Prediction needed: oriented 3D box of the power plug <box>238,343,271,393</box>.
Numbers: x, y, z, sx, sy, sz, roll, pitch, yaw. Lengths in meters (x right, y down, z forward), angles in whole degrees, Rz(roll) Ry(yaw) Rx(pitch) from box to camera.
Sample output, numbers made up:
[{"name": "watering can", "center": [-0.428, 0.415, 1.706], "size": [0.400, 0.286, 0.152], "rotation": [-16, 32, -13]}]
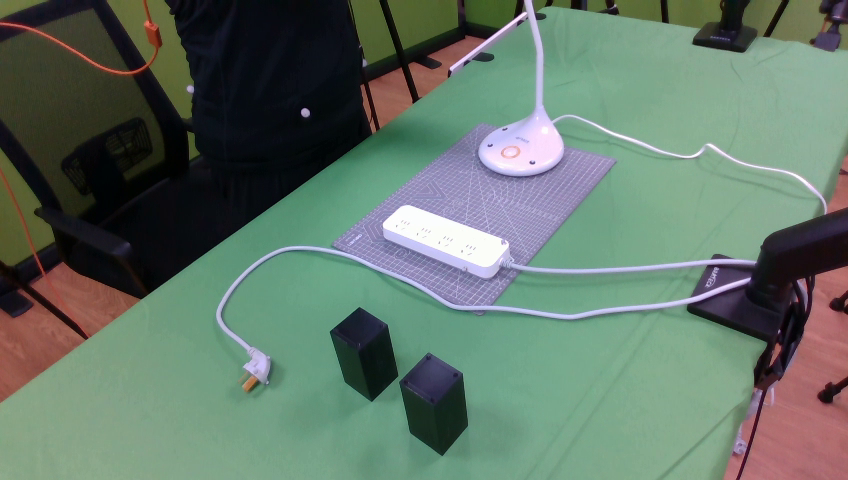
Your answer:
[{"name": "power plug", "center": [-0.230, 0.172, 0.801], "size": [0.072, 0.035, 0.053], "rotation": [9, 51, 50]}]

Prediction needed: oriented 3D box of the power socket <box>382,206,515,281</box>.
[{"name": "power socket", "center": [0.032, 0.002, 0.950], "size": [0.225, 0.033, 0.072], "rotation": [21, 49, 29]}]

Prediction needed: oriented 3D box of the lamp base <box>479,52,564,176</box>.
[{"name": "lamp base", "center": [0.181, -0.235, 1.093], "size": [0.159, 0.181, 0.179], "rotation": [18, 44, 27]}]
